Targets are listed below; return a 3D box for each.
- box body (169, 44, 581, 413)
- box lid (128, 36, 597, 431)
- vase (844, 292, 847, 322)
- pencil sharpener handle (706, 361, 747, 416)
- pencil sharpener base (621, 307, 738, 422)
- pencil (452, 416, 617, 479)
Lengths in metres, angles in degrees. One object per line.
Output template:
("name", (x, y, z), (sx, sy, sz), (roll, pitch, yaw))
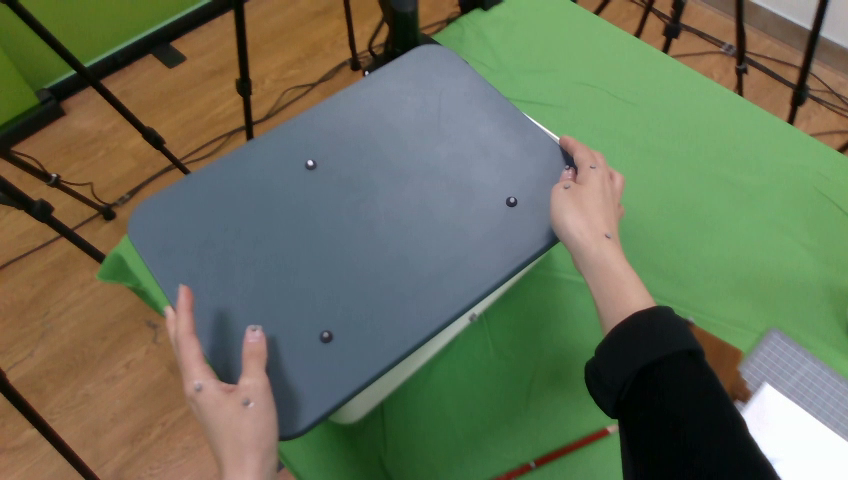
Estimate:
("box body", (-0.043, -0.019, 0.675), (0.364, 0.162, 0.252), (-39, 65, -22))
("box lid", (-0.050, -0.036, 0.552), (0.371, 0.015, 0.261), (-35, 68, -17))
("vase", (0.523, 0.040, 0.615), (0.098, 0.202, 0.097), (0, 56, 1))
("pencil sharpener handle", (0.299, 0.147, 0.587), (0.030, 0.068, 0.036), (29, 55, 18))
("pencil sharpener base", (0.258, 0.129, 0.613), (0.076, 0.108, 0.061), (29, 61, 17))
("pencil", (0.114, 0.214, 0.617), (0.194, 0.012, 0.012), (-17, 58, -14))
